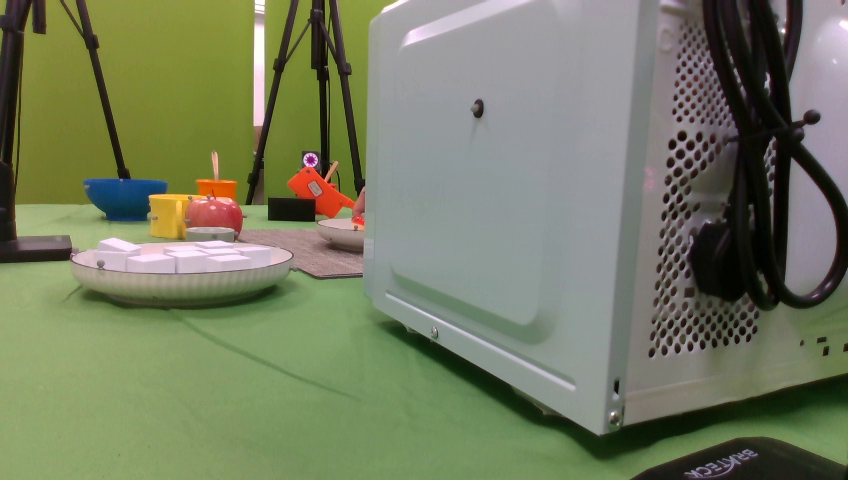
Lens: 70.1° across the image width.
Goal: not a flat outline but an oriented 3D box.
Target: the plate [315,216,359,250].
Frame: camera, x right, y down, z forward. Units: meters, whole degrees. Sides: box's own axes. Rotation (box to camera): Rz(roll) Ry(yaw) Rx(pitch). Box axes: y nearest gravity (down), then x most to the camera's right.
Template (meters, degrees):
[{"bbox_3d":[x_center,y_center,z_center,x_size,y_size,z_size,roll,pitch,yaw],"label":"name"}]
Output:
[{"bbox_3d":[-0.068,-0.010,0.963,0.209,0.038,0.209,3,8,0],"label":"plate"}]

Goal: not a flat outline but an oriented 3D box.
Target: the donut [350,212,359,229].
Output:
[{"bbox_3d":[-0.070,-0.022,0.963,0.099,0.048,0.099,4,7,0],"label":"donut"}]

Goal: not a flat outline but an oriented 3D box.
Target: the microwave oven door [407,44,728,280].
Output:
[{"bbox_3d":[0.164,-0.079,0.670,0.357,0.243,0.039,1,8,-12],"label":"microwave oven door"}]

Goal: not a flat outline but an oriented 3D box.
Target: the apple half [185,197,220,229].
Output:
[{"bbox_3d":[-0.338,-0.031,0.927,0.032,0.081,0.081,12,12,31],"label":"apple half"}]

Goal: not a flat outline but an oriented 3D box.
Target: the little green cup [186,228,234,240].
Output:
[{"bbox_3d":[-0.284,0.005,0.805,0.061,0.038,0.061,3,8,0],"label":"little green cup"}]

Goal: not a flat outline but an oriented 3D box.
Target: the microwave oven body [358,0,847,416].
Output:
[{"bbox_3d":[0.211,-0.047,0.475,0.444,0.260,0.324,-1,7,-28],"label":"microwave oven body"}]

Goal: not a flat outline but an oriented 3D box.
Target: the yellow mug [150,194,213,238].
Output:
[{"bbox_3d":[-0.401,-0.040,1.003,0.100,0.064,0.130,-1,9,-20],"label":"yellow mug"}]

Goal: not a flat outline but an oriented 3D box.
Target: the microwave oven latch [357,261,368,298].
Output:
[{"bbox_3d":[-0.019,0.033,0.530,0.079,0.029,0.030,0,7,-26],"label":"microwave oven latch"}]

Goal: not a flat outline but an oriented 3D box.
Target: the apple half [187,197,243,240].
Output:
[{"bbox_3d":[-0.305,-0.026,0.907,0.053,0.074,0.081,12,8,31],"label":"apple half"}]

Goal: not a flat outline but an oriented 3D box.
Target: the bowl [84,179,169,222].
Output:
[{"bbox_3d":[-0.584,-0.078,1.194,0.151,0.077,0.151,3,8,0],"label":"bowl"}]

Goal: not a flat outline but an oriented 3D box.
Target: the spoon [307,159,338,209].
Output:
[{"bbox_3d":[-0.257,-0.147,1.567,0.041,0.022,0.193,1,50,19],"label":"spoon"}]

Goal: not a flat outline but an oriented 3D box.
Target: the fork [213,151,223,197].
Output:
[{"bbox_3d":[-0.494,-0.143,1.442,0.028,0.018,0.206,-2,52,-20],"label":"fork"}]

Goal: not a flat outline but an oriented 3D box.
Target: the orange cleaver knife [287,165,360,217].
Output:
[{"bbox_3d":[-0.211,-0.093,1.382,0.212,0.077,0.012,33,1,-15],"label":"orange cleaver knife"}]

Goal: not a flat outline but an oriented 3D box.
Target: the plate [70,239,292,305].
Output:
[{"bbox_3d":[-0.242,0.031,0.618,0.208,0.039,0.207,2,8,0],"label":"plate"}]
